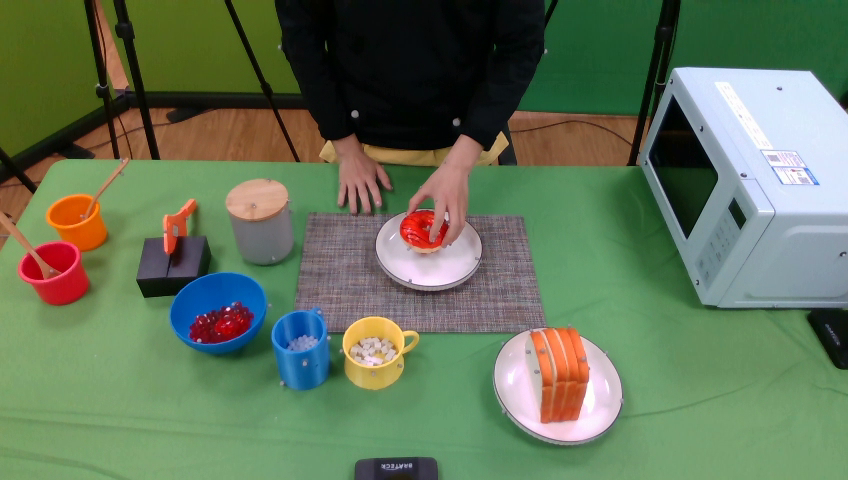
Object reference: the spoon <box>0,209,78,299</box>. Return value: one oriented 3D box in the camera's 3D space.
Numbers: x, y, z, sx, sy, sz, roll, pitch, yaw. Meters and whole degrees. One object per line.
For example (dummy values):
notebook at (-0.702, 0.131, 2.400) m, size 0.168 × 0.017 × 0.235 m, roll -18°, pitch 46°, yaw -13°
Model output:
spoon at (-0.668, 0.021, 1.040) m, size 0.041 × 0.021 × 0.194 m, roll -41°, pitch 105°, yaw -29°

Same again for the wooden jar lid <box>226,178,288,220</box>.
wooden jar lid at (-0.296, -0.070, 1.081) m, size 0.108 × 0.021 × 0.107 m, roll 1°, pitch 45°, yaw -1°

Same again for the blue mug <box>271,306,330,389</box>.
blue mug at (-0.188, 0.163, 0.969) m, size 0.082 × 0.106 × 0.116 m, roll 15°, pitch 47°, yaw 10°

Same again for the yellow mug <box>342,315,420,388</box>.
yellow mug at (-0.068, 0.177, 0.991) m, size 0.131 × 0.064 × 0.099 m, roll -15°, pitch 50°, yaw -19°

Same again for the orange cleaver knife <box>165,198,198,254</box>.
orange cleaver knife at (-0.458, -0.031, 1.149) m, size 0.012 × 0.077 × 0.210 m, roll -2°, pitch 17°, yaw -6°

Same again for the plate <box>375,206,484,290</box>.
plate at (0.009, 0.019, 1.161) m, size 0.209 × 0.038 × 0.208 m, roll 2°, pitch 46°, yaw -2°

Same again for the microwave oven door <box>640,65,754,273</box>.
microwave oven door at (0.523, -0.147, 1.193) m, size 0.039 × 0.245 × 0.353 m, roll 0°, pitch 47°, yaw -3°

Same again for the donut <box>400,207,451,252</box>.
donut at (0.003, -0.021, 1.141) m, size 0.099 × 0.048 × 0.098 m, roll 4°, pitch 49°, yaw -4°

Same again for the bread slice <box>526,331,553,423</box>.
bread slice at (0.176, 0.202, 0.929) m, size 0.019 × 0.132 × 0.104 m, roll -9°, pitch 45°, yaw -1°

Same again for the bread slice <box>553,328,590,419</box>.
bread slice at (0.226, 0.201, 0.932) m, size 0.018 × 0.135 × 0.106 m, roll -4°, pitch 51°, yaw -4°

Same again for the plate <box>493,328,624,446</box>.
plate at (0.213, 0.236, 0.974) m, size 0.208 × 0.039 × 0.206 m, roll 2°, pitch 46°, yaw -2°

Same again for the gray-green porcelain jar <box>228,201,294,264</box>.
gray-green porcelain jar at (-0.299, -0.027, 1.126) m, size 0.106 × 0.127 × 0.105 m, roll 2°, pitch 46°, yaw -2°

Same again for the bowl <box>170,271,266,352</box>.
bowl at (-0.333, 0.132, 1.006) m, size 0.151 × 0.077 × 0.150 m, roll 2°, pitch 46°, yaw -2°

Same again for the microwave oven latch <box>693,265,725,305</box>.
microwave oven latch at (0.522, 0.081, 1.115) m, size 0.030 × 0.029 × 0.078 m, roll 2°, pitch 46°, yaw -1°

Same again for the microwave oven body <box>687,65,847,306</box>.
microwave oven body at (0.669, -0.111, 1.176) m, size 0.326 × 0.261 × 0.439 m, roll 0°, pitch 46°, yaw -3°

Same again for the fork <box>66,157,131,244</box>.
fork at (-0.608, -0.074, 1.132) m, size 0.207 × 0.019 × 0.028 m, roll -52°, pitch 48°, yaw 10°
